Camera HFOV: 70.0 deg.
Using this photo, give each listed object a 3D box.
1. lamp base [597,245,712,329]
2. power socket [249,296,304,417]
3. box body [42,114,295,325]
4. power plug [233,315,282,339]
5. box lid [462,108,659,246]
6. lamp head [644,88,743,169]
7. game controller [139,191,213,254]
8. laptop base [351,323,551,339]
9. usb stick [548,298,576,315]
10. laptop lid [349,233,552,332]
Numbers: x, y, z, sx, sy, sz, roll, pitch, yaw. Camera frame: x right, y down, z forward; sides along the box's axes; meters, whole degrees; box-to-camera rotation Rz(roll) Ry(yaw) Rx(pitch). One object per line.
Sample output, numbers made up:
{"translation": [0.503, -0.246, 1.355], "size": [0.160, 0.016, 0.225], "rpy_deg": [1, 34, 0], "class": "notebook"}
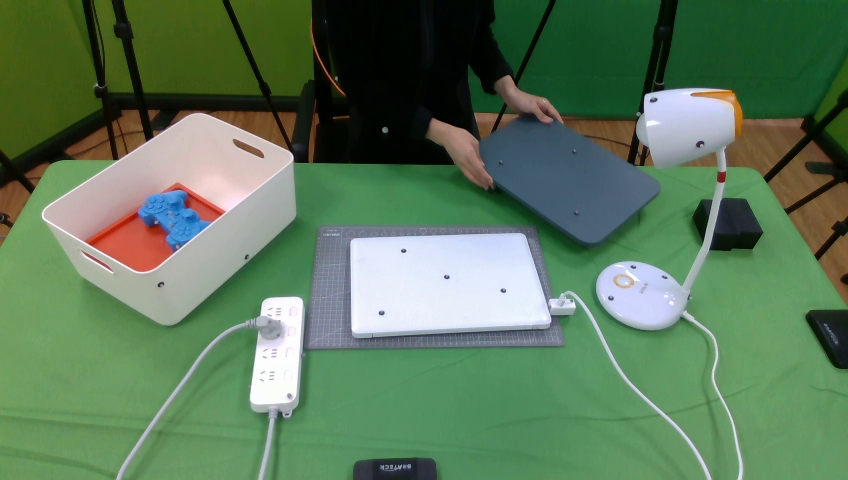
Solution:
{"translation": [0.418, 0.051, 1.072], "size": [0.179, 0.181, 0.160], "rpy_deg": [22, 49, 13], "class": "lamp base"}
{"translation": [-0.239, 0.182, 0.996], "size": [0.072, 0.033, 0.225], "rpy_deg": [-2, 47, -5], "class": "power socket"}
{"translation": [-0.437, -0.046, 1.110], "size": [0.253, 0.161, 0.363], "rpy_deg": [24, 49, 19], "class": "box body"}
{"translation": [-0.271, 0.144, 1.000], "size": [0.072, 0.053, 0.035], "rpy_deg": [6, 47, 4], "class": "power plug"}
{"translation": [0.291, -0.148, 1.304], "size": [0.263, 0.015, 0.369], "rpy_deg": [-35, 59, -27], "class": "box lid"}
{"translation": [0.380, -0.161, 0.851], "size": [0.122, 0.113, 0.112], "rpy_deg": [-4, 42, 25], "class": "lamp head"}
{"translation": [-0.436, -0.039, 1.081], "size": [0.154, 0.052, 0.097], "rpy_deg": [36, 58, 27], "class": "game controller"}
{"translation": [0.040, 0.080, 1.125], "size": [0.355, 0.023, 0.234], "rpy_deg": [-2, 43, -6], "class": "laptop base"}
{"translation": [0.240, 0.120, 1.086], "size": [0.059, 0.027, 0.021], "rpy_deg": [-2, 51, -2], "class": "usb stick"}
{"translation": [0.040, 0.071, 1.118], "size": [0.357, 0.013, 0.240], "rpy_deg": [-1, 44, -5], "class": "laptop lid"}
